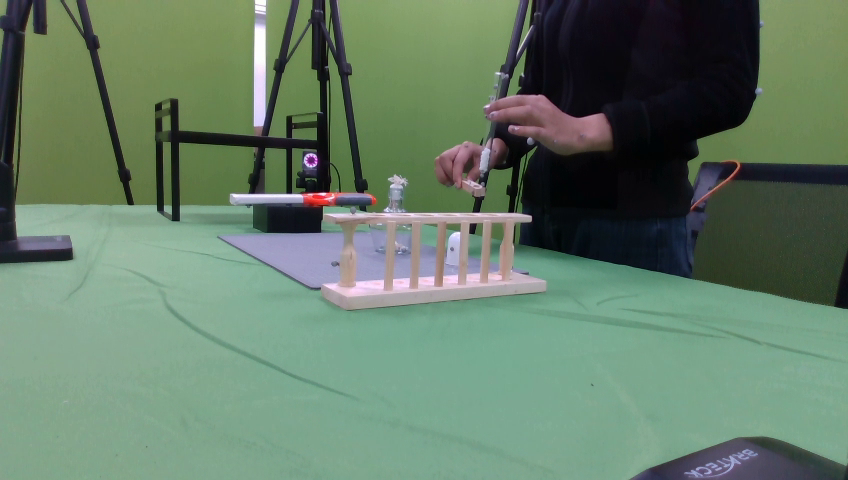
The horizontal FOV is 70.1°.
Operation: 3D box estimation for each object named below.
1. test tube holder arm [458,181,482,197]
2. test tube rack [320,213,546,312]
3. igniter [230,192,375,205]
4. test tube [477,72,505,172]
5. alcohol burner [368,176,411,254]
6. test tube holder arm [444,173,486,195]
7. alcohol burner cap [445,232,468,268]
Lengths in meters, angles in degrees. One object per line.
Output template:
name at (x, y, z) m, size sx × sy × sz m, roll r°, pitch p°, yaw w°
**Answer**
test tube holder arm at (0.073, -0.083, 0.971) m, size 0.010 × 0.015 × 0.087 m, roll -11°, pitch 16°, yaw -13°
test tube rack at (0.018, 0.017, 0.638) m, size 0.244 × 0.085 × 0.066 m, roll -1°, pitch 8°, yaw -31°
igniter at (-0.226, -0.079, 1.161) m, size 0.278 × 0.025 × 0.057 m, roll -2°, pitch 15°, yaw -28°
test tube at (0.099, -0.175, 0.904) m, size 0.017 × 0.150 × 0.017 m, roll 9°, pitch 18°, yaw -2°
alcohol burner at (-0.045, -0.038, 0.913) m, size 0.078 × 0.119 × 0.078 m, roll 4°, pitch 7°, yaw 0°
test tube holder arm at (0.066, -0.095, 1.015) m, size 0.013 × 0.015 × 0.178 m, roll -11°, pitch 16°, yaw -13°
alcohol burner cap at (0.045, 0.013, 0.829) m, size 0.034 × 0.048 × 0.034 m, roll 2°, pitch 8°, yaw 0°
